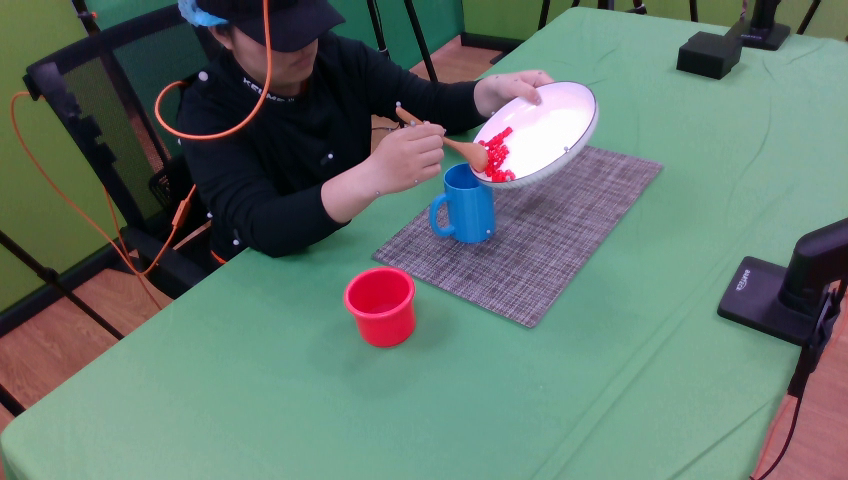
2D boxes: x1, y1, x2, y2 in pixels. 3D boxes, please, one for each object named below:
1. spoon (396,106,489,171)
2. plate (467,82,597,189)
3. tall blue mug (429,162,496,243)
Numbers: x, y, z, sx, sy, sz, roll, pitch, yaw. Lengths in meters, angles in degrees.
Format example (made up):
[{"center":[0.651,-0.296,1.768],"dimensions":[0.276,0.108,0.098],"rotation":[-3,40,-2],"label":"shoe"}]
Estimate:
[{"center":[0.031,-0.146,0.873],"dimensions":[0.021,0.195,0.041],"rotation":[-2,72,51],"label":"spoon"},{"center":[0.163,-0.151,0.907],"dimensions":[0.207,0.039,0.206],"rotation":[-25,38,22],"label":"plate"},{"center":[0.067,-0.051,0.960],"dimensions":[0.077,0.108,0.107],"rotation":[17,47,27],"label":"tall blue mug"}]
